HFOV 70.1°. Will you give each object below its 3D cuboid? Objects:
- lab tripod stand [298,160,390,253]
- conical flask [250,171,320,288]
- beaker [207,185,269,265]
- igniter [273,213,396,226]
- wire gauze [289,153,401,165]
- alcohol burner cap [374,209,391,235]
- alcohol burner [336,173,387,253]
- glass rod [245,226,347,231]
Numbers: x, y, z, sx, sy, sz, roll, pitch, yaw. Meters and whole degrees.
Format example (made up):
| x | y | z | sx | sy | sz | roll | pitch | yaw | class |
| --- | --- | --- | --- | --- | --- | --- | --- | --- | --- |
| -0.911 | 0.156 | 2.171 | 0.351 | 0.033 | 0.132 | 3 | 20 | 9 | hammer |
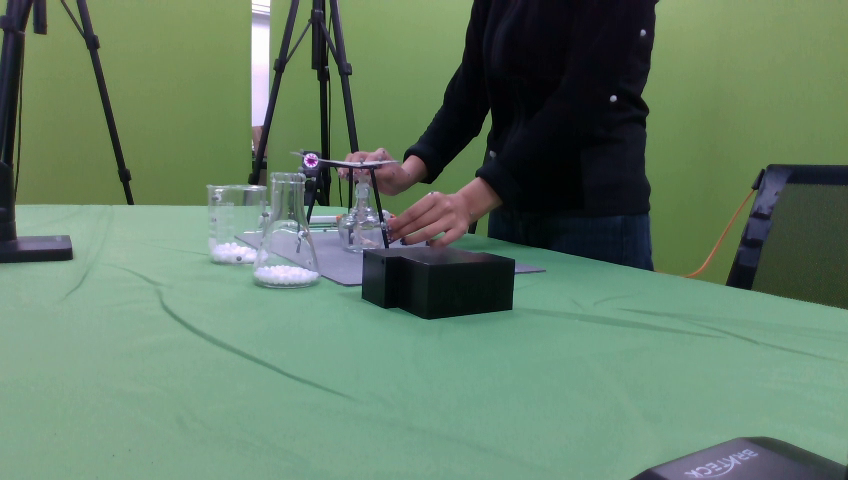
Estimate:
| x | y | z | sx | sy | sz | roll | pitch | yaw | class |
| --- | --- | --- | --- | --- | --- | --- | --- | --- | --- |
| -0.111 | -0.050 | 0.893 | 0.148 | 0.131 | 0.148 | 4 | 6 | 0 | lab tripod stand |
| -0.150 | -0.013 | 0.658 | 0.075 | 0.122 | 0.075 | 2 | 7 | 0 | conical flask |
| -0.244 | -0.021 | 0.784 | 0.083 | 0.100 | 0.074 | 6 | 8 | 30 | beaker |
| -0.178 | -0.044 | 1.258 | 0.278 | 0.025 | 0.057 | -3 | -1 | -39 | igniter |
| -0.112 | -0.116 | 0.884 | 0.124 | 0.011 | 0.122 | 7 | 8 | 28 | wire gauze |
| -0.078 | -0.035 | 1.148 | 0.034 | 0.048 | 0.034 | 3 | 7 | 0 | alcohol burner cap |
| -0.094 | -0.041 | 0.906 | 0.078 | 0.119 | 0.078 | 1 | 7 | 0 | alcohol burner |
| -0.237 | -0.022 | 1.141 | 0.201 | 0.008 | 0.008 | -2 | 8 | -32 | glass rod |
